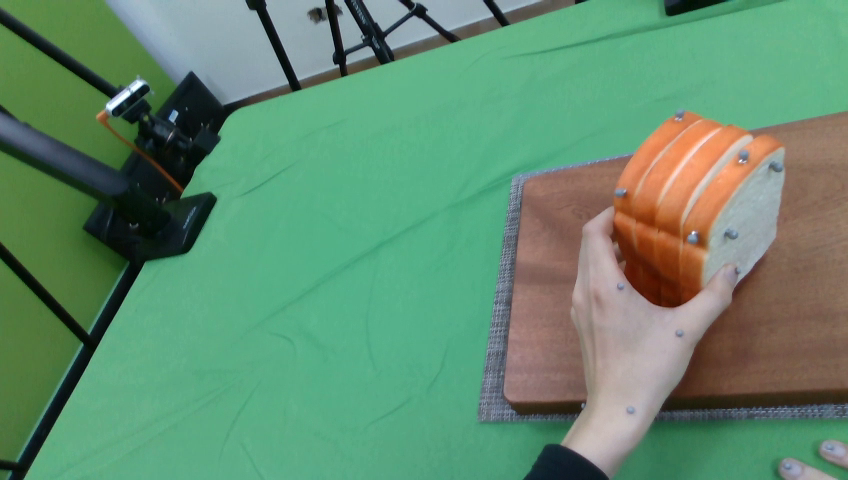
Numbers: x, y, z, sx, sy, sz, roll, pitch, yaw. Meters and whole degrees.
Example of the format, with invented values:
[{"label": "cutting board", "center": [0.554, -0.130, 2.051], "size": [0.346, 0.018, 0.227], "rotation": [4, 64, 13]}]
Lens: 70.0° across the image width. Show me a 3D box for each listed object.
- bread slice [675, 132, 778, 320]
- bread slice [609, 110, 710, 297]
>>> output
[{"label": "bread slice", "center": [0.216, -0.009, 0.432], "size": [0.105, 0.133, 0.019], "rotation": [-44, 50, -13]}, {"label": "bread slice", "center": [0.186, -0.031, 0.466], "size": [0.107, 0.136, 0.018], "rotation": [-42, 44, -17]}]
